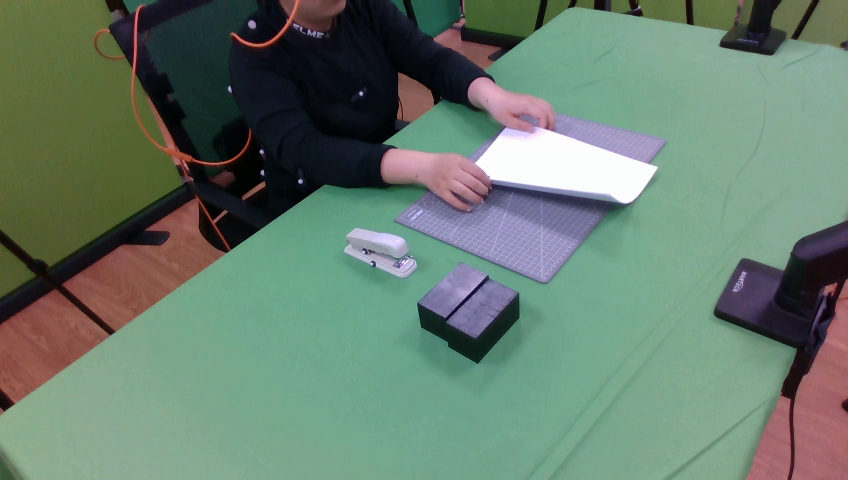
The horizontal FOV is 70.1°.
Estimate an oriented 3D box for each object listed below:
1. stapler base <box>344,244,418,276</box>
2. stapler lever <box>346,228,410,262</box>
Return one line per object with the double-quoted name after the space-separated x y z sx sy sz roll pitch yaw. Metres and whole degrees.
-0.070 0.020 0.965 0.129 0.024 0.041 19 45 31 "stapler base"
-0.074 0.001 0.950 0.117 0.040 0.027 20 45 30 "stapler lever"
